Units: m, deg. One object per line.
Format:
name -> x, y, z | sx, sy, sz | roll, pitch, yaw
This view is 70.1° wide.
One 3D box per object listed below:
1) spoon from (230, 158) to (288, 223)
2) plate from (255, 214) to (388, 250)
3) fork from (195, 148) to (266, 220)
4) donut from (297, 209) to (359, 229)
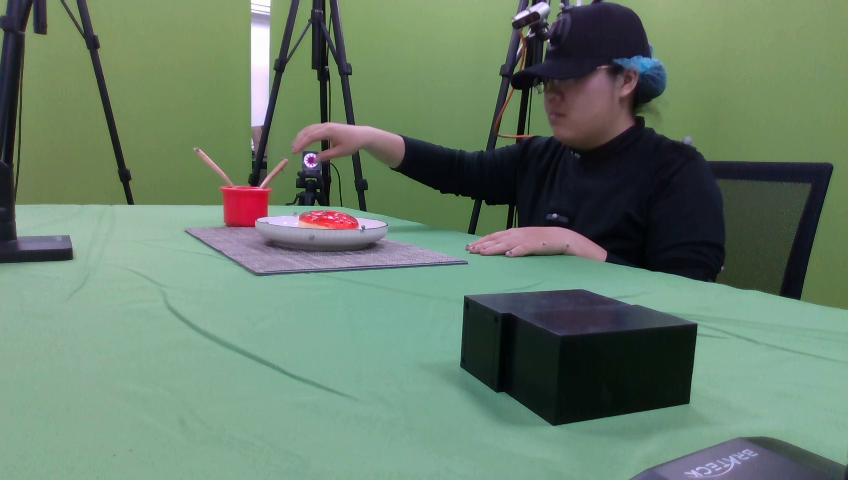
spoon -> -0.322, -0.101, 1.206 | 0.041, 0.022, 0.194 | 13, 55, 21
plate -> -0.161, -0.013, 0.961 | 0.209, 0.038, 0.209 | 2, 7, 0
fork -> -0.386, -0.110, 1.199 | 0.028, 0.207, 0.018 | -38, -6, -39
donut -> -0.151, -0.023, 0.955 | 0.099, 0.048, 0.099 | 5, 7, 0
